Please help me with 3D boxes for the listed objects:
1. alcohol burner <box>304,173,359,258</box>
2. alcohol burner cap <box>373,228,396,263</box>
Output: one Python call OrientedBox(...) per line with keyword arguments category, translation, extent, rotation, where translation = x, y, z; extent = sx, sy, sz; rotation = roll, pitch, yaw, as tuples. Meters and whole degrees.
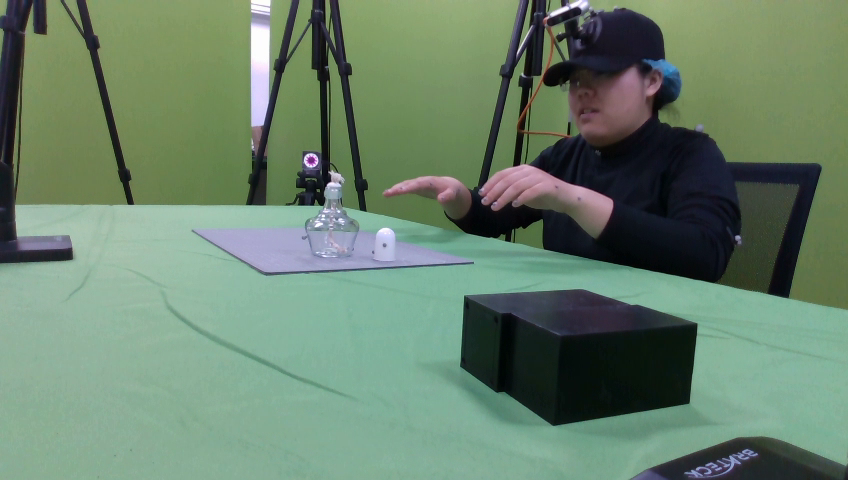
OrientedBox(category="alcohol burner", translation=(-0.129, -0.035, 0.852), extent=(0.078, 0.119, 0.078), rotation=(2, 5, 0))
OrientedBox(category="alcohol burner cap", translation=(-0.054, 0.007, 0.836), extent=(0.034, 0.048, 0.034), rotation=(3, 7, 0))
